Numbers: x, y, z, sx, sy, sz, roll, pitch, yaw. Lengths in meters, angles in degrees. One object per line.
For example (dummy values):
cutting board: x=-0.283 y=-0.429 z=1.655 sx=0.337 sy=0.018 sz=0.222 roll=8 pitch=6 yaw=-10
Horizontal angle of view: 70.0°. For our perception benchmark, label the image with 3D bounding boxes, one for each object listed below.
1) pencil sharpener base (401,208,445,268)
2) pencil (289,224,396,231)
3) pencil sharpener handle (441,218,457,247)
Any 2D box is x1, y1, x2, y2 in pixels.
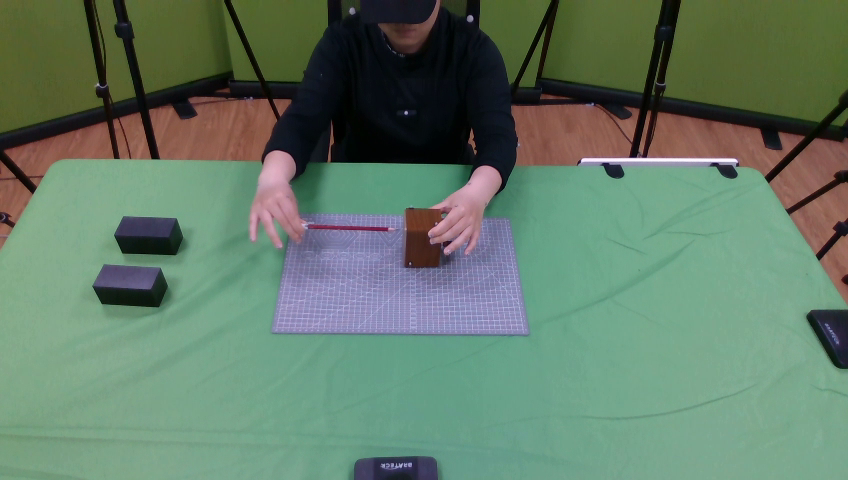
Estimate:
pencil sharpener base: x=-0.003 y=-0.002 z=1.137 sx=0.077 sy=0.107 sz=0.061 roll=0 pitch=45 yaw=-5
pencil: x=-0.148 y=-0.022 z=1.107 sx=0.194 sy=0.012 sz=0.012 roll=2 pitch=45 yaw=-2
pencil sharpener handle: x=0.049 y=-0.011 z=1.133 sx=0.031 sy=0.068 sz=0.036 roll=0 pitch=47 yaw=-5
